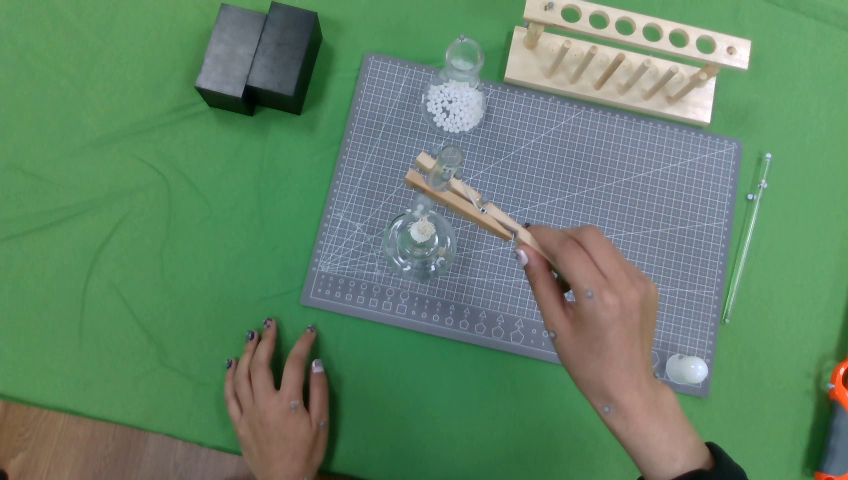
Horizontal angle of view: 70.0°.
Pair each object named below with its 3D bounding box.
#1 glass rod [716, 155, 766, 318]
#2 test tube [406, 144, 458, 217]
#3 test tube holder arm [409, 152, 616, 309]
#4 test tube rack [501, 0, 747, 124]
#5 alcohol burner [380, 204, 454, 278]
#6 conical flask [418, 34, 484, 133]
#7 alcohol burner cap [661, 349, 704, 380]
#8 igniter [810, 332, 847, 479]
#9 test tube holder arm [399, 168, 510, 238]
[{"bbox_3d":[0.361,-0.006,0.687,0.008,0.008,0.199,20,82,0],"label":"glass rod"},{"bbox_3d":[0.003,-0.039,0.445,0.017,0.150,0.017,2,80,-9],"label":"test tube"},{"bbox_3d":[0.064,-0.006,0.434,0.178,0.015,0.013,35,82,-1],"label":"test tube holder arm"},{"bbox_3d":[0.216,-0.201,0.674,0.242,0.085,0.066,12,79,-1],"label":"test tube rack"},{"bbox_3d":[-0.007,-0.003,0.608,0.078,0.119,0.077,0,78,-2],"label":"alcohol burner"},{"bbox_3d":[0.033,-0.167,0.634,0.075,0.122,0.075,1,80,-3],"label":"conical flask"},{"bbox_3d":[0.275,0.131,0.638,0.034,0.048,0.033,1,79,-3],"label":"alcohol burner cap"},{"bbox_3d":[0.471,0.129,0.661,0.057,0.025,0.275,23,79,-9],"label":"igniter"},{"bbox_3d":[0.023,-0.026,0.431,0.088,0.015,0.010,28,81,-3],"label":"test tube holder arm"}]
